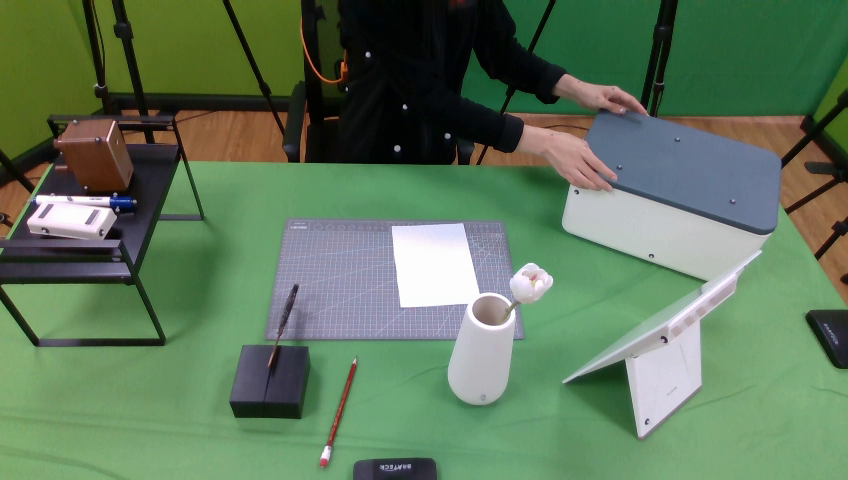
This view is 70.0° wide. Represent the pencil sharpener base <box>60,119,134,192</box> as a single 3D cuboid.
[{"bbox_3d":[-0.528,-0.135,0.979,0.077,0.107,0.061,-4,47,-7],"label":"pencil sharpener base"}]

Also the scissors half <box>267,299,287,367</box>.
[{"bbox_3d":[-0.238,0.150,0.997,0.013,0.040,0.174,23,24,-13],"label":"scissors half"}]

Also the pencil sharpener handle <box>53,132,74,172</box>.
[{"bbox_3d":[-0.578,-0.138,0.961,0.031,0.068,0.036,-4,34,-7],"label":"pencil sharpener handle"}]

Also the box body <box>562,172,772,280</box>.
[{"bbox_3d":[0.486,-0.089,1.222,0.363,0.161,0.253,20,48,15],"label":"box body"}]

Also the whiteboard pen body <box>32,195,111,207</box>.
[{"bbox_3d":[-0.543,-0.061,0.961,0.141,0.017,0.017,1,46,-10],"label":"whiteboard pen body"}]

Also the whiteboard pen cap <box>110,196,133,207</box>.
[{"bbox_3d":[-0.486,-0.061,0.972,0.033,0.018,0.018,0,46,-9],"label":"whiteboard pen cap"}]

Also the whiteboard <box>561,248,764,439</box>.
[{"bbox_3d":[0.386,0.176,0.905,0.217,0.306,0.143,-26,72,-27],"label":"whiteboard"}]

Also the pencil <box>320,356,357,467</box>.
[{"bbox_3d":[-0.130,0.261,0.946,0.012,0.012,0.193,10,45,5],"label":"pencil"}]

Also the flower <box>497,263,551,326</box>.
[{"bbox_3d":[0.103,0.121,0.853,0.044,0.363,0.038,-1,64,-9],"label":"flower"}]

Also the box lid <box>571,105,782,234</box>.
[{"bbox_3d":[0.489,-0.146,1.162,0.370,0.015,0.262,20,47,15],"label":"box lid"}]

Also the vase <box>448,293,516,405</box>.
[{"bbox_3d":[0.091,0.169,0.921,0.098,0.201,0.097,3,47,-3],"label":"vase"}]

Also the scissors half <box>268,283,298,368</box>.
[{"bbox_3d":[-0.230,0.135,0.986,0.013,0.040,0.174,19,43,-11],"label":"scissors half"}]

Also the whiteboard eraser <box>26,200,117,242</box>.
[{"bbox_3d":[-0.532,-0.026,0.919,0.113,0.042,0.055,7,45,3],"label":"whiteboard eraser"}]
